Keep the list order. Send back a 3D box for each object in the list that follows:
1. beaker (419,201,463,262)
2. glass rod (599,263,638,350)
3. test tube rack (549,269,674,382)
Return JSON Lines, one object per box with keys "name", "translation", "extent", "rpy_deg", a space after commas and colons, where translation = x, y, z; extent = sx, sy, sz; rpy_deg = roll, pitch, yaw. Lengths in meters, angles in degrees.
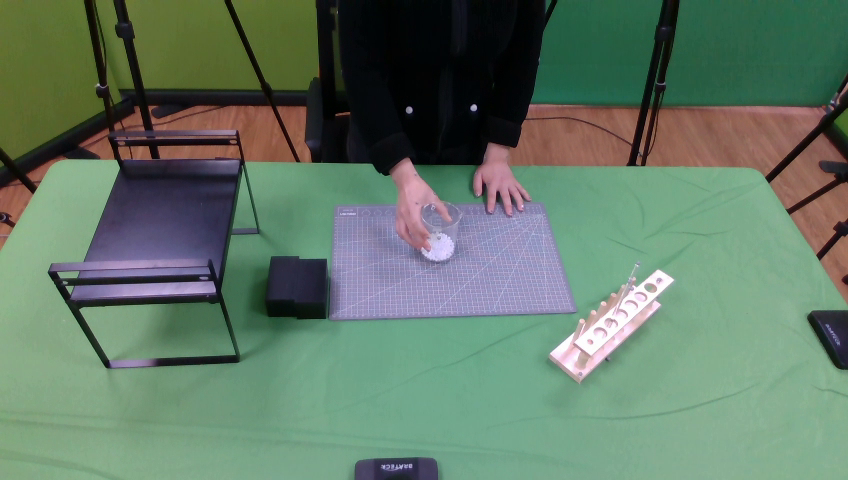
{"name": "beaker", "translation": [0.029, -0.014, 1.147], "extent": [0.084, 0.101, 0.073], "rpy_deg": [-8, 48, -13]}
{"name": "glass rod", "translation": [0.311, 0.112, 0.976], "extent": [0.008, 0.200, 0.008], "rpy_deg": [4, 40, -3]}
{"name": "test tube rack", "translation": [0.325, 0.134, 1.047], "extent": [0.242, 0.085, 0.066], "rpy_deg": [-32, 56, -30]}
